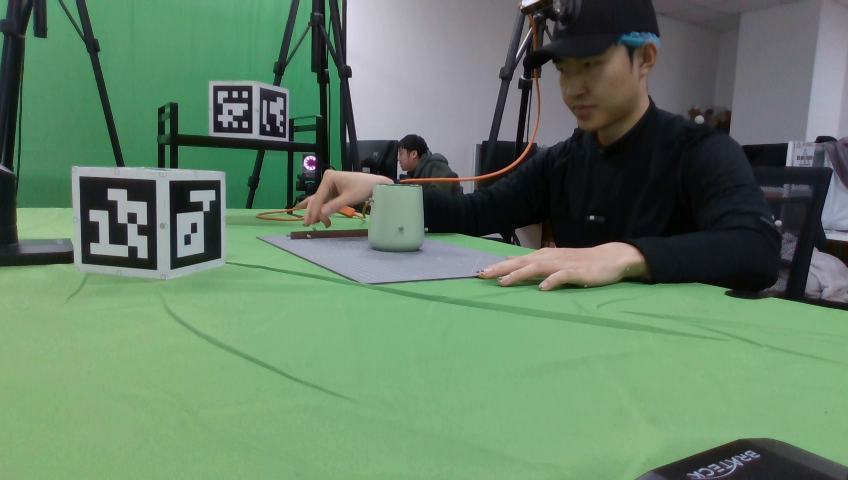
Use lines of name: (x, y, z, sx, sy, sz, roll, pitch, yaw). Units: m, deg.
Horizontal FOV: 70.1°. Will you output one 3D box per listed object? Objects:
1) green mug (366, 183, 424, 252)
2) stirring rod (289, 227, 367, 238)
green mug: (-0.054, -0.039, 0.989, 0.093, 0.105, 0.124, -1, 8, -29)
stirring rod: (-0.162, -0.014, 1.093, 0.177, 0.014, 0.006, -4, 3, -36)
